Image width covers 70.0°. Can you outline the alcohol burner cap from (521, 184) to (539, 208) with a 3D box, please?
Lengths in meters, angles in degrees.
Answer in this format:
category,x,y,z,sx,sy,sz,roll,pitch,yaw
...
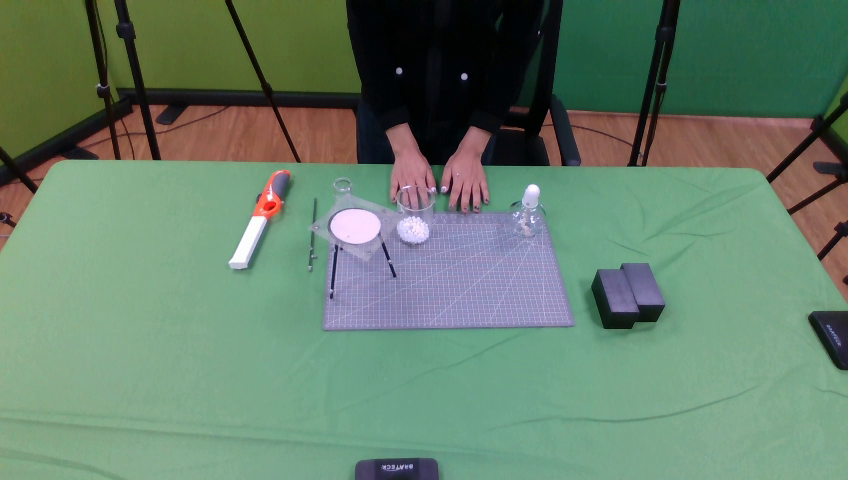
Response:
category,x,y,z,sx,sy,sz,roll,pitch,yaw
alcohol burner cap,0.210,-0.087,1.184,0.034,0.048,0.033,0,52,0

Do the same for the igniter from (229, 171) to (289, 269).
category,x,y,z,sx,sy,sz,roll,pitch,yaw
igniter,-0.328,-0.049,1.218,0.057,0.025,0.275,1,45,11

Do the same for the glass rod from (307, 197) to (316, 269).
category,x,y,z,sx,sy,sz,roll,pitch,yaw
glass rod,-0.223,-0.018,1.210,0.008,0.008,0.198,-1,46,-5

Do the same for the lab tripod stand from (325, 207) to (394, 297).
category,x,y,z,sx,sy,sz,roll,pitch,yaw
lab tripod stand,-0.124,0.017,1.092,0.148,0.132,0.147,3,44,-3

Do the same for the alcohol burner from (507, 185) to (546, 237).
category,x,y,z,sx,sy,sz,roll,pitch,yaw
alcohol burner,0.208,-0.063,1.211,0.078,0.119,0.077,3,44,-3

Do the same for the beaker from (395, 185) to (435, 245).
category,x,y,z,sx,sy,sz,roll,pitch,yaw
beaker,-0.022,-0.048,1.187,0.074,0.101,0.083,-28,53,-28

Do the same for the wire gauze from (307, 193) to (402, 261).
category,x,y,z,sx,sy,sz,roll,pitch,yaw
wire gauze,-0.119,-0.028,1.043,0.125,0.011,0.121,24,47,17

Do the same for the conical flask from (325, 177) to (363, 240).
category,x,y,z,sx,sy,sz,roll,pitch,yaw
conical flask,-0.158,-0.064,1.176,0.075,0.122,0.075,2,46,-2
